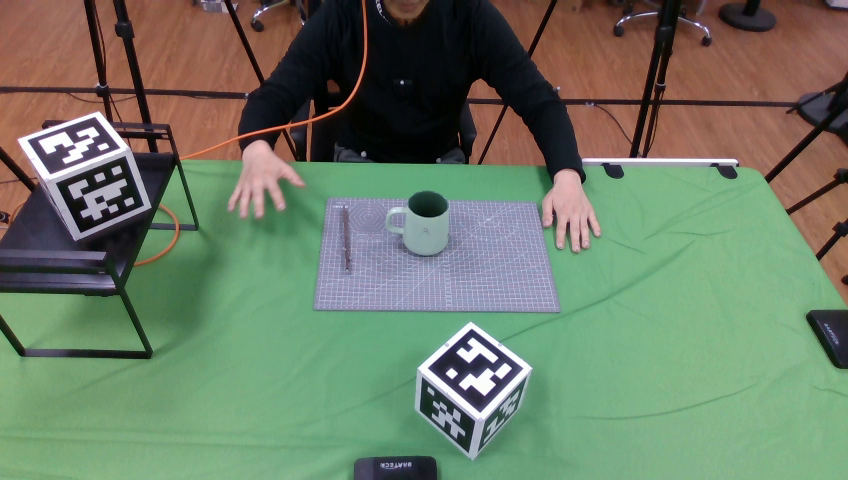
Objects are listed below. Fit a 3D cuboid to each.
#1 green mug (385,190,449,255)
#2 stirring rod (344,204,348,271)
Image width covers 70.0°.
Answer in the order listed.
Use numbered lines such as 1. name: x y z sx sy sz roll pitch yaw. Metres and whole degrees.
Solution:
1. green mug: -0.013 -0.033 1.166 0.125 0.105 0.092 2 46 -2
2. stirring rod: -0.154 -0.007 1.192 0.006 0.014 0.175 -6 47 -2
